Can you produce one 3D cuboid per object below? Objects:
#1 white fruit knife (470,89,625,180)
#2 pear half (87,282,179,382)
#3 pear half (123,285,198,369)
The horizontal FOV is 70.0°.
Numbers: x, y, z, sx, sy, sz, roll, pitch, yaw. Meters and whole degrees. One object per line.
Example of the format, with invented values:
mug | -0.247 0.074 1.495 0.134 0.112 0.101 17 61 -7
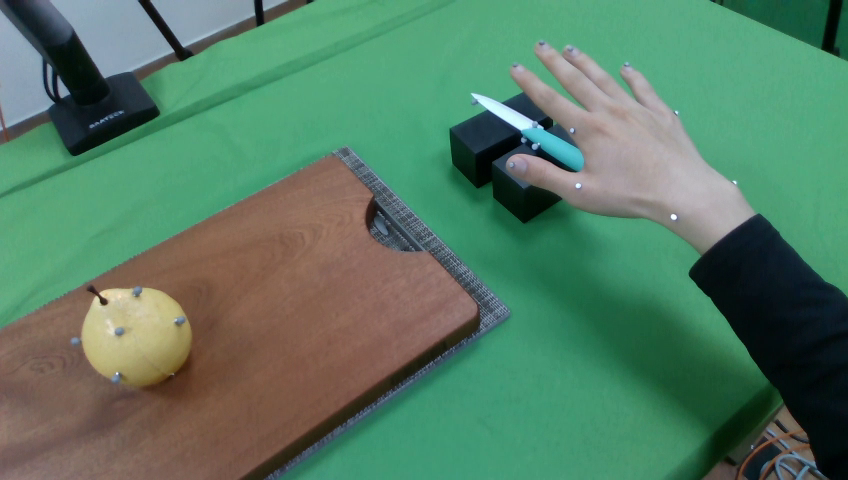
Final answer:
white fruit knife | 0.113 -0.112 0.611 0.027 0.016 0.205 -25 46 -27
pear half | -0.240 0.070 0.478 0.056 0.111 0.075 -24 48 -10
pear half | -0.206 0.063 0.491 0.031 0.089 0.069 -26 45 -10
